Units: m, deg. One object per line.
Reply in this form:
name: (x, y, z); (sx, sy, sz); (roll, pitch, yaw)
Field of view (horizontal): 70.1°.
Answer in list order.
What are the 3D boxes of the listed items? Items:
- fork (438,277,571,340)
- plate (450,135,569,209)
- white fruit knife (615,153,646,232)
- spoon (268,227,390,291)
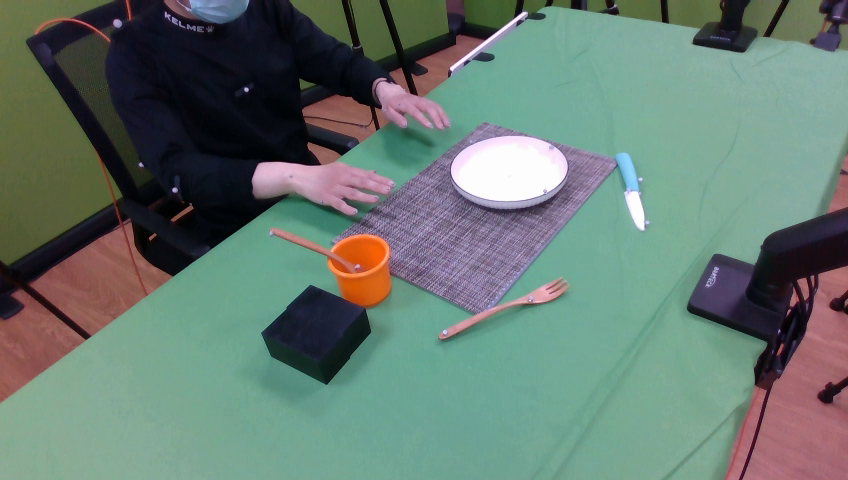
fork: (0.113, 0.096, 0.843); (0.208, 0.019, 0.028); (-19, 48, -16)
plate: (0.149, -0.117, 1.066); (0.209, 0.038, 0.208); (-4, 41, 4)
white fruit knife: (0.352, -0.084, 1.023); (0.027, 0.016, 0.206); (-19, 40, 23)
spoon: (-0.132, 0.025, 0.862); (0.021, 0.195, 0.041); (-40, 32, 33)
